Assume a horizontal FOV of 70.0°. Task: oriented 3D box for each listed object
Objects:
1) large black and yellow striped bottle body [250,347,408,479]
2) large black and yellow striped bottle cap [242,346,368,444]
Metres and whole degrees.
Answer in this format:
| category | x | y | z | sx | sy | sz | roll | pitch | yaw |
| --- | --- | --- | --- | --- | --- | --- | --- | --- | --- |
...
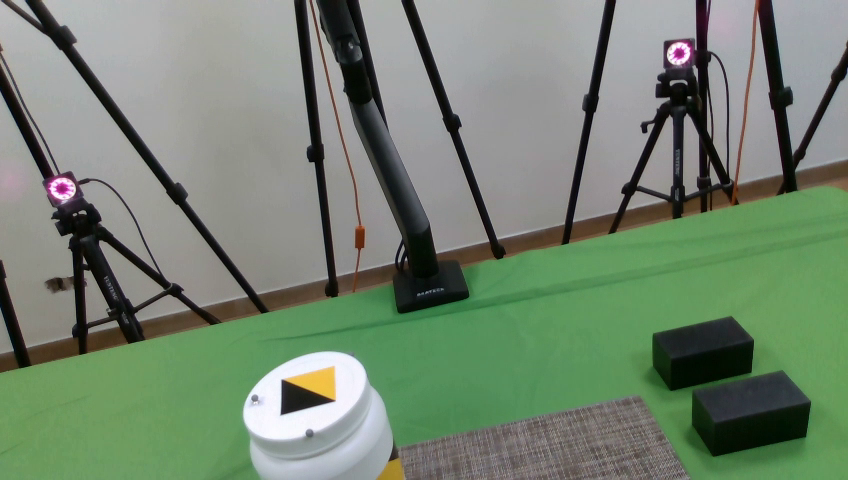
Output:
| category | x | y | z | sx | sy | sz | roll | pitch | yaw |
| --- | --- | --- | --- | --- | --- | --- | --- | --- | --- |
| large black and yellow striped bottle body | -0.092 | 0.210 | 0.599 | 0.131 | 0.185 | 0.129 | -10 | 29 | 6 |
| large black and yellow striped bottle cap | -0.109 | 0.139 | 0.558 | 0.115 | 0.019 | 0.114 | -9 | 28 | 5 |
